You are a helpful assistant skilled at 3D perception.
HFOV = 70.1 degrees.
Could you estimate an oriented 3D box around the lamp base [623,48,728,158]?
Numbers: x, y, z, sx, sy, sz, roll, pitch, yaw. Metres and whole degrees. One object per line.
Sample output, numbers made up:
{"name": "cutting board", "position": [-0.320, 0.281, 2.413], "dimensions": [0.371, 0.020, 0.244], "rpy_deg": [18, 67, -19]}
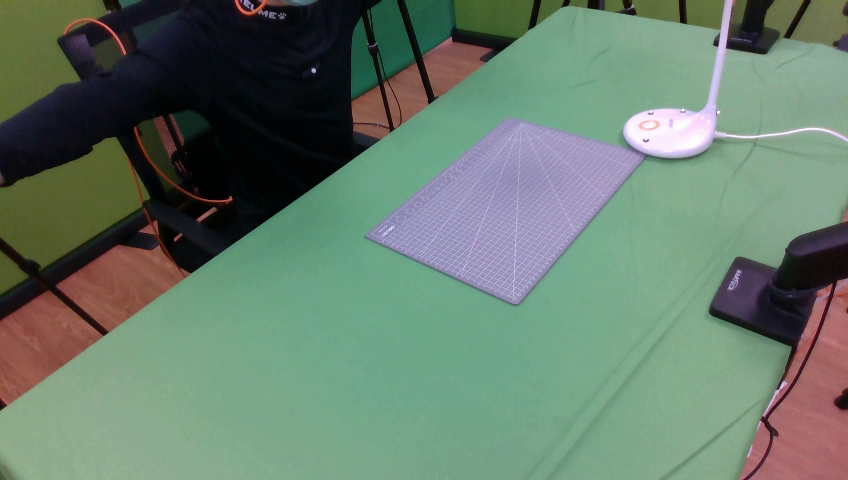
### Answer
{"name": "lamp base", "position": [0.462, -0.261, 1.084], "dimensions": [0.179, 0.181, 0.160], "rpy_deg": [3, 42, 7]}
